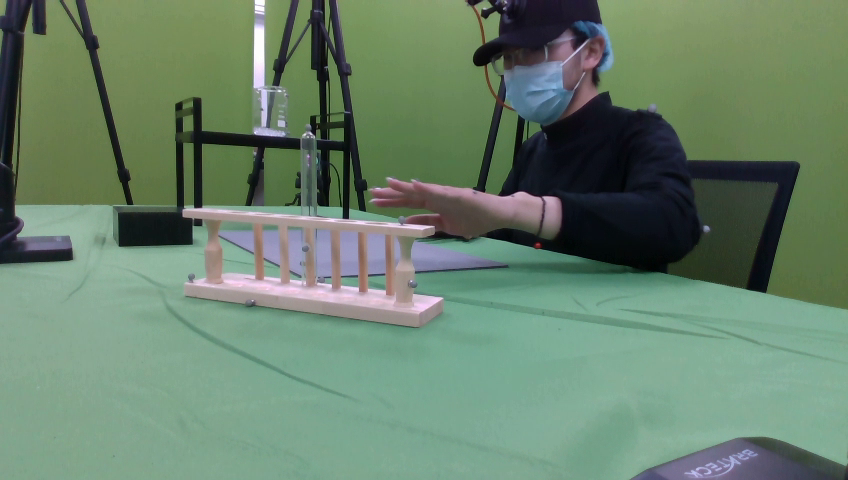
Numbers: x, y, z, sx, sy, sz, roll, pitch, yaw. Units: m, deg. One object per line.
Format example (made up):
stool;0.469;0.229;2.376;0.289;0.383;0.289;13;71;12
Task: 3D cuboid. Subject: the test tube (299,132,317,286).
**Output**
test tube;-0.113;-0.029;0.588;0.017;0.150;0.017;1;7;0

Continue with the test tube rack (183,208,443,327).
test tube rack;-0.106;0.019;0.570;0.241;0.085;0.067;5;8;19

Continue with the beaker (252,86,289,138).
beaker;-0.319;-0.263;1.250;0.074;0.100;0.084;5;8;21
